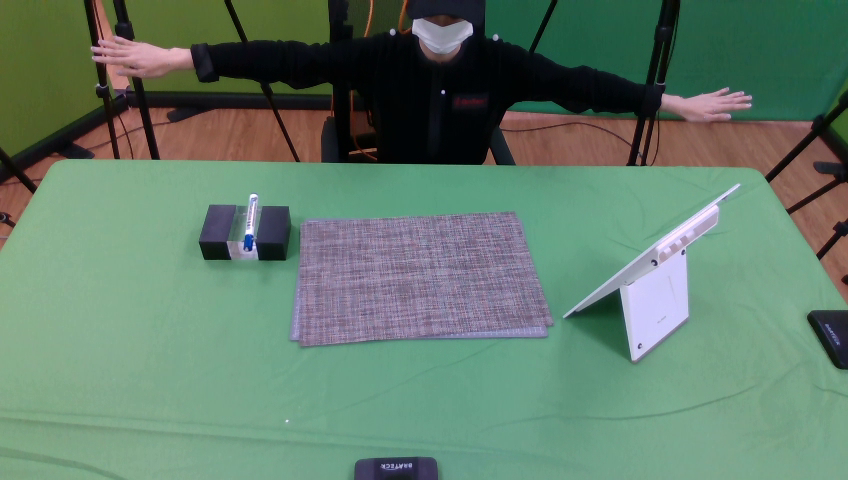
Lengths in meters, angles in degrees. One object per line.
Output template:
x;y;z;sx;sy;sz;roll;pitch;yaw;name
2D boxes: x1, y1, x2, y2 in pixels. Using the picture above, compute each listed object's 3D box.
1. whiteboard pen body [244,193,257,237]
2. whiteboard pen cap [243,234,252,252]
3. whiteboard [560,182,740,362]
-0.328;-0.039;1.145;0.017;0.017;0.140;-3;46;-7;whiteboard pen body
-0.322;0.004;1.103;0.018;0.018;0.033;-4;47;-8;whiteboard pen cap
0.406;0.075;1.001;0.217;0.306;0.143;-28;73;-28;whiteboard
